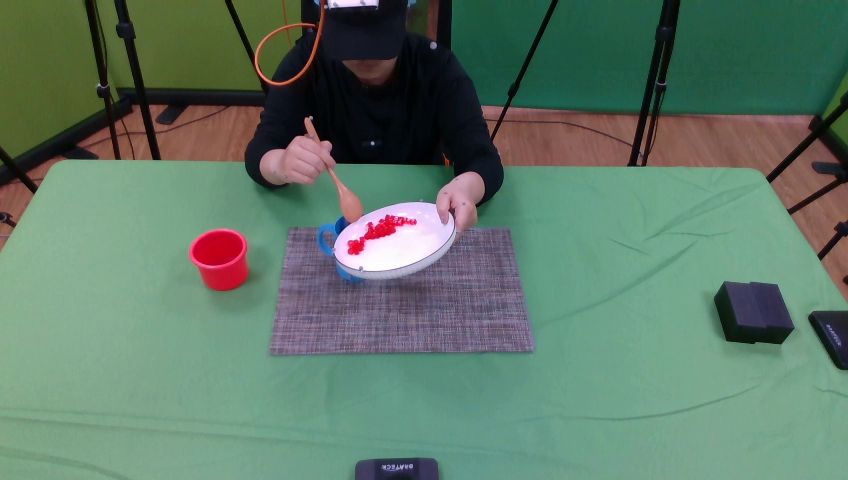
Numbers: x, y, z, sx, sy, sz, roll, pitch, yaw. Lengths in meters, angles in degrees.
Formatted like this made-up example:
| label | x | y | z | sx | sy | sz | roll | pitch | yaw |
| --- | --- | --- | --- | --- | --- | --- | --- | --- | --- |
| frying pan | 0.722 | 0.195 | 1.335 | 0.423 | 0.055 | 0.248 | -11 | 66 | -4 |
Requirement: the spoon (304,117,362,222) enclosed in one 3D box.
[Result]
| label | x | y | z | sx | sy | sz | roll | pitch | yaw |
| --- | --- | --- | --- | --- | --- | --- | --- | --- | --- |
| spoon | -0.158 | -0.118 | 1.028 | 0.041 | 0.194 | 0.021 | -34 | 13 | -29 |

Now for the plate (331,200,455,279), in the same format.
| label | x | y | z | sx | sy | sz | roll | pitch | yaw |
| --- | --- | --- | --- | --- | --- | --- | --- | --- | --- |
| plate | -0.048 | 0.003 | 0.998 | 0.207 | 0.039 | 0.206 | -10 | 32 | 7 |

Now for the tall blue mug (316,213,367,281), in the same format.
| label | x | y | z | sx | sy | sz | roll | pitch | yaw |
| --- | --- | --- | --- | --- | --- | --- | --- | --- | --- |
| tall blue mug | -0.141 | 0.014 | 1.109 | 0.107 | 0.108 | 0.077 | -4 | 48 | -9 |
